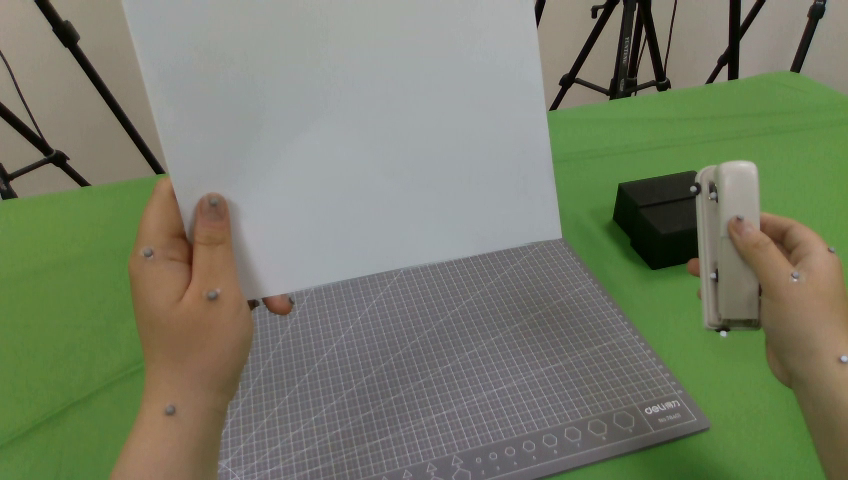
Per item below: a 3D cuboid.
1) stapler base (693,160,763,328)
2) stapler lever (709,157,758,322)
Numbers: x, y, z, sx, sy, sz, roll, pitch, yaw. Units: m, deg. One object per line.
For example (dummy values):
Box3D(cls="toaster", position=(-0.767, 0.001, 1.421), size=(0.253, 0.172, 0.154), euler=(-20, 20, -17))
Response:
Box3D(cls="stapler base", position=(0.229, 0.001, 0.455), size=(0.041, 0.130, 0.024), euler=(-4, -7, 20))
Box3D(cls="stapler lever", position=(0.221, -0.001, 0.431), size=(0.027, 0.117, 0.040), euler=(-4, -7, 20))
